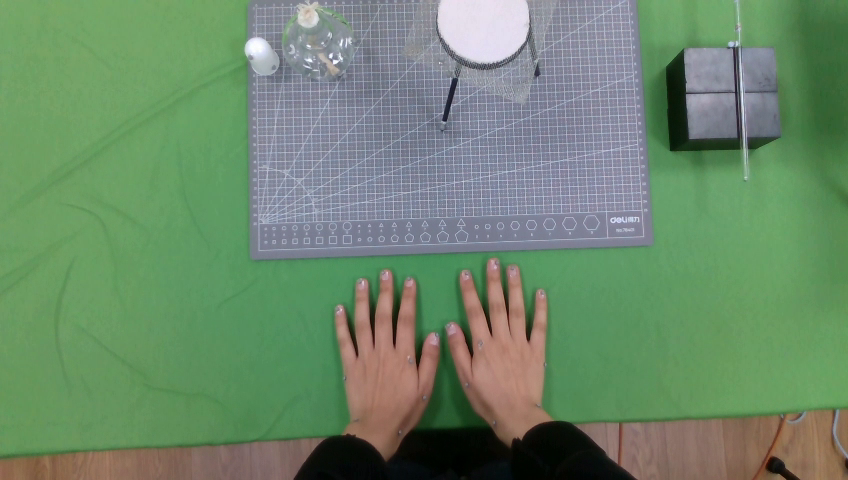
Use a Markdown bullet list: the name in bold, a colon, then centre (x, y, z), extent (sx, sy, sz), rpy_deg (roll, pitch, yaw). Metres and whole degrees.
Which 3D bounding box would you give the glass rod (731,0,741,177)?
- **glass rod**: centre (0.333, -0.165, 0.646), extent (0.008, 0.008, 0.199), rpy_deg (1, 85, 0)

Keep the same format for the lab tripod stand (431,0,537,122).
- **lab tripod stand**: centre (0.056, -0.203, 0.627), extent (0.148, 0.132, 0.148), rpy_deg (0, 83, -1)

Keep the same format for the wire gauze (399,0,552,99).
- **wire gauze**: centre (0.053, -0.207, 0.561), extent (0.125, 0.011, 0.121), rpy_deg (20, 85, 0)

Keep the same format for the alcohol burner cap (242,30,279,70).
- **alcohol burner cap**: centre (-0.183, -0.212, 0.670), extent (0.034, 0.048, 0.034), rpy_deg (0, 84, 3)

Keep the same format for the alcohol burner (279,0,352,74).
- **alcohol burner**: centre (-0.116, -0.221, 0.636), extent (0.078, 0.119, 0.077), rpy_deg (0, 84, -2)
